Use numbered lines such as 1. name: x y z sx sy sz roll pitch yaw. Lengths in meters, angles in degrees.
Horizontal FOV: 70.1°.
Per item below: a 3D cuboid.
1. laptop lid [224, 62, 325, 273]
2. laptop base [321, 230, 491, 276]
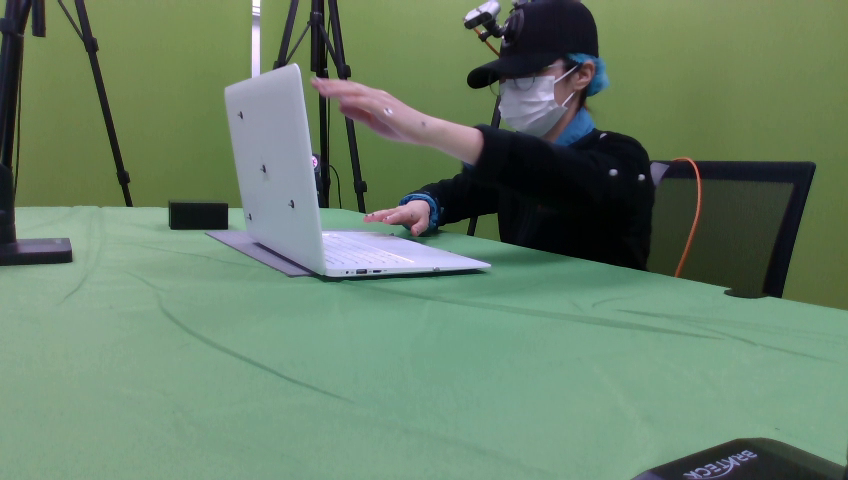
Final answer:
1. laptop lid: -0.210 -0.097 0.804 0.013 0.241 0.355 -12 15 -28
2. laptop base: -0.095 0.015 0.888 0.237 0.023 0.352 2 7 -30
